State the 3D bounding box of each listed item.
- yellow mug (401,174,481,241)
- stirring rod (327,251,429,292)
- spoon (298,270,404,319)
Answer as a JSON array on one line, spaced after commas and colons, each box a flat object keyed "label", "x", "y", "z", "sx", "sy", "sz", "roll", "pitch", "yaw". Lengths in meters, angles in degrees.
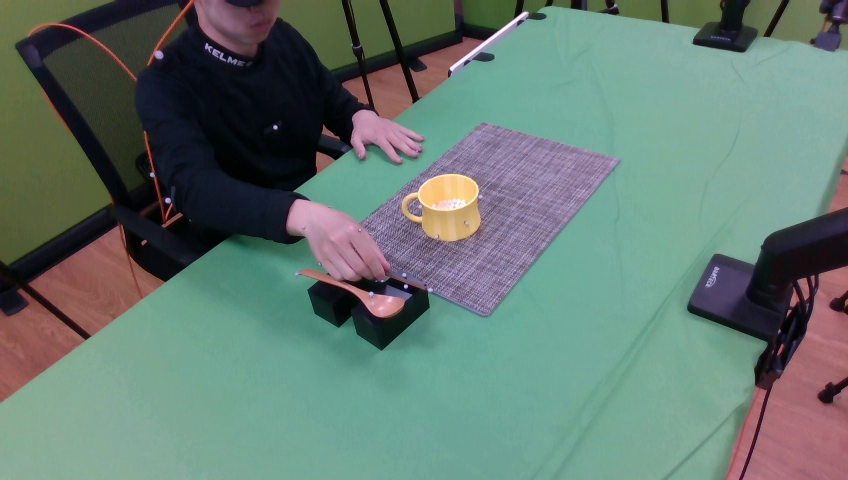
[{"label": "yellow mug", "x": 0.026, "y": -0.054, "z": 0.989, "sx": 0.130, "sy": 0.064, "sz": 0.099, "roll": -1, "pitch": 41, "yaw": 8}, {"label": "stirring rod", "x": -0.068, "y": 0.043, "z": 0.858, "sx": 0.175, "sy": 0.006, "sz": 0.014, "roll": 18, "pitch": 10, "yaw": 27}, {"label": "spoon", "x": -0.106, "y": 0.068, "z": 0.831, "sx": 0.192, "sy": 0.022, "sz": 0.042, "roll": 21, "pitch": 48, "yaw": 32}]
